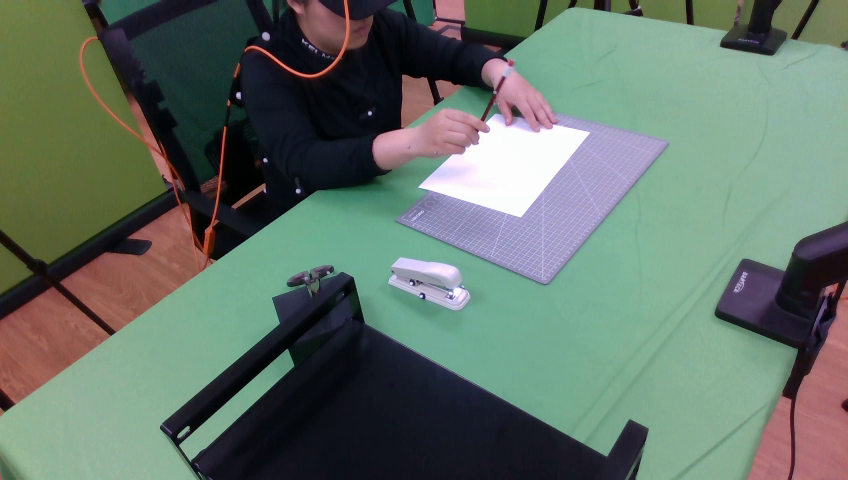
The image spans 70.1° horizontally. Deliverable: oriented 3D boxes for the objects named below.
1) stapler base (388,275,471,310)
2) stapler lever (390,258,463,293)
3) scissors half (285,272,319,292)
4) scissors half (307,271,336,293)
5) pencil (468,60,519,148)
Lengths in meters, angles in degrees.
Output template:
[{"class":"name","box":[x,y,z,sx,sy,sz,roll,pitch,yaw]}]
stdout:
[{"class":"stapler base","box":[0.007,0.066,0.897,0.129,0.024,0.041,17,43,29]},{"class":"stapler lever","box":[0.003,0.046,0.881,0.117,0.040,0.027,17,44,29]},{"class":"scissors half","box":[-0.171,0.063,0.868,0.040,0.013,0.174,-10,7,-21]},{"class":"scissors half","box":[-0.152,0.061,0.872,0.040,0.013,0.175,-3,6,-4]},{"class":"pencil","box":[0.107,-0.211,0.968,0.012,0.194,0.012,11,54,-15]}]
